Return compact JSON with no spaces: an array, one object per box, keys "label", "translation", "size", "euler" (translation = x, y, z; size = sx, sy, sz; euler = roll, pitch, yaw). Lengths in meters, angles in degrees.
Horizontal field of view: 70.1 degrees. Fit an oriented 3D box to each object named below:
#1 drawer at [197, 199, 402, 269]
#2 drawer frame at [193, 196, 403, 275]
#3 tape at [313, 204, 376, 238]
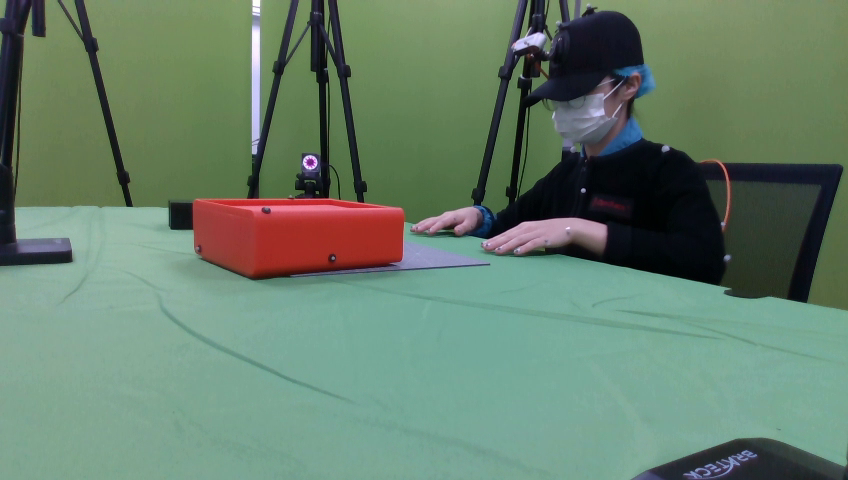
[{"label":"drawer","translation":[-0.169,-0.014,0.817],"size":[0.213,0.073,0.193],"euler":[-4,10,-39]},{"label":"drawer frame","translation":[-0.170,-0.014,0.814],"size":[0.215,0.082,0.200],"euler":[-5,10,-40]},{"label":"tape","translation":[-0.145,-0.036,1.117],"size":[0.117,0.052,0.117],"euler":[3,8,0]}]
